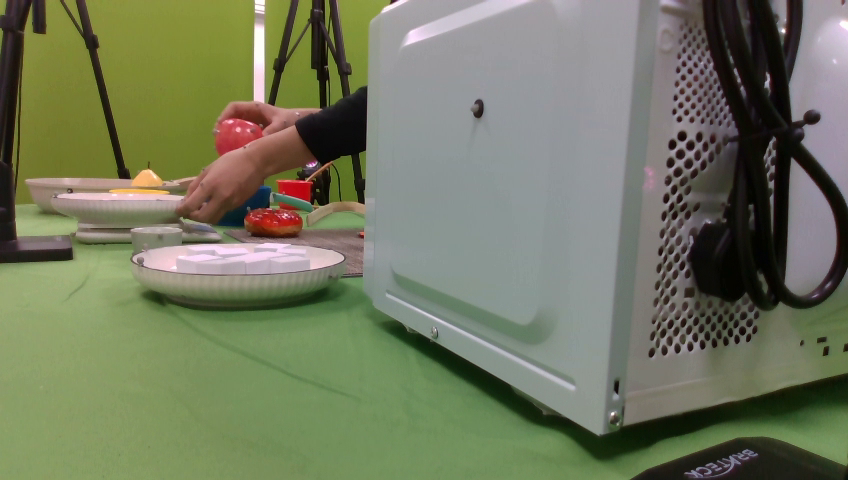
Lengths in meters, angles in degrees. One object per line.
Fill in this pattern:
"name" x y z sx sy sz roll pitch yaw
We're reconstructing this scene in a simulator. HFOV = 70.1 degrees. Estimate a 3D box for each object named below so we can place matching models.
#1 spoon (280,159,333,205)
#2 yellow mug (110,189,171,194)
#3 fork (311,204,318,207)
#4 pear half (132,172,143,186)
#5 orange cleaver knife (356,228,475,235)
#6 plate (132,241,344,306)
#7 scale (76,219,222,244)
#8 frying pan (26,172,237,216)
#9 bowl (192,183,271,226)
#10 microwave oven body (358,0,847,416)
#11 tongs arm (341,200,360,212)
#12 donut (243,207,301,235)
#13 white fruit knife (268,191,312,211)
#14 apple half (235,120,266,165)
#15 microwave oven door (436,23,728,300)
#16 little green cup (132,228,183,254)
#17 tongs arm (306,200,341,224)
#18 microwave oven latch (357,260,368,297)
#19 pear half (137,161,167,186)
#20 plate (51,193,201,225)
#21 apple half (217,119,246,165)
"spoon" -0.317 -0.159 1.640 0.194 0.022 0.041 -49 32 -20
"yellow mug" -0.519 -0.055 1.080 0.099 0.064 0.131 7 10 26
"fork" -0.356 -0.105 1.526 0.208 0.018 0.028 16 -6 -41
"pear half" -0.638 -0.113 1.361 0.031 0.088 0.070 5 10 4
"orange cleaver knife" -0.017 -0.015 1.080 0.211 0.012 0.077 0 2 -3
"plate" -0.187 0.033 0.625 0.208 0.039 0.207 2 7 0
"scale" -0.435 -0.018 0.963 0.202 0.031 0.148 -1 8 -26
"frying pan" -0.624 -0.118 1.387 0.305 0.102 0.490 8 17 32
"bowl" -0.382 -0.070 1.202 0.151 0.077 0.151 3 7 0
"microwave oven body" 0.211 -0.047 0.474 0.444 0.260 0.324 -1 8 -28
"tongs arm" -0.149 -0.070 1.429 0.051 0.026 0.383 -3 8 -15
"donut" -0.262 -0.032 1.043 0.099 0.048 0.099 5 8 0
"white fruit knife" -0.364 -0.105 1.464 0.208 0.027 0.016 15 0 -34
"apple half" -0.293 -0.166 1.043 0.033 0.081 0.081 2 7 16
"microwave oven door" 0.180 -0.073 0.621 0.358 0.243 0.039 -2 9 -29
"little green cup" -0.342 0.006 0.779 0.061 0.038 0.061 2 8 0
"tongs arm" -0.234 -0.069 1.414 0.028 0.028 0.387 -5 7 1
"microwave oven latch" -0.019 0.033 0.530 0.079 0.029 0.030 -1 7 -26
"pear half" -0.602 -0.120 1.354 0.056 0.110 0.076 4 11 6
"plate" -0.460 -0.050 0.945 0.209 0.038 0.209 2 7 0
"apple half" -0.330 -0.169 1.052 0.053 0.074 0.081 2 2 15
